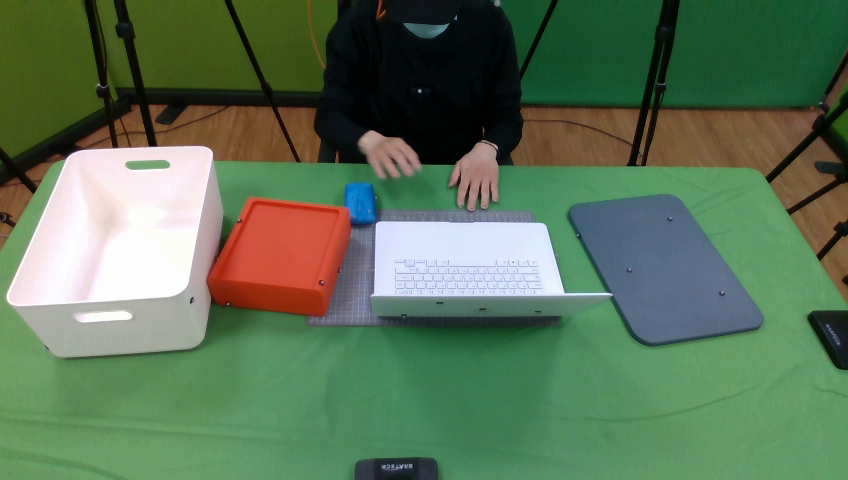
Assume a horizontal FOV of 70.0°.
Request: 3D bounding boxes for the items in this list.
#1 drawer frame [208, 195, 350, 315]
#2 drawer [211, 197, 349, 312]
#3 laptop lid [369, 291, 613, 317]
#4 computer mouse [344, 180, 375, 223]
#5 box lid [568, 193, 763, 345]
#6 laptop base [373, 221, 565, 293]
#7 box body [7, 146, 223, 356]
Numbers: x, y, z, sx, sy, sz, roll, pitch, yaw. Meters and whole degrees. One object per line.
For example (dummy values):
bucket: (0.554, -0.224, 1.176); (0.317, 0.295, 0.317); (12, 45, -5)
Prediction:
drawer frame: (-0.255, 0.023, 1.112); (0.202, 0.083, 0.212); (6, 47, 3)
drawer: (-0.255, 0.022, 1.114); (0.194, 0.073, 0.210); (7, 47, 3)
laptop lid: (0.092, 0.104, 0.965); (0.357, 0.242, 0.013); (0, 76, -5)
computer mouse: (-0.134, -0.083, 1.253); (0.063, 0.041, 0.116); (0, 47, -7)
box lid: (0.465, 0.040, 1.203); (0.264, 0.015, 0.369); (-7, 47, -11)
laptop base: (0.080, 0.049, 1.158); (0.355, 0.023, 0.234); (0, 43, -4)
box body: (-0.499, 0.013, 1.051); (0.254, 0.161, 0.361); (-3, 47, -7)
